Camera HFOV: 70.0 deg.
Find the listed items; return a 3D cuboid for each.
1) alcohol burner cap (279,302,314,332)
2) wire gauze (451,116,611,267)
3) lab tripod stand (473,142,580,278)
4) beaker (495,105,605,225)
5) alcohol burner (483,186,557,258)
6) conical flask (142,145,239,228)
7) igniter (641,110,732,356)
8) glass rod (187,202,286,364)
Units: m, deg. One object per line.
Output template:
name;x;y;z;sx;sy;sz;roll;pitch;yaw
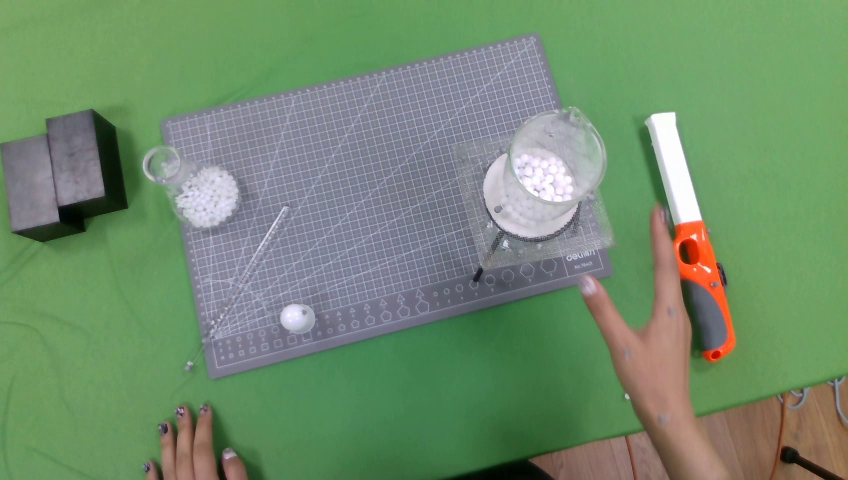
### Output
alcohol burner cap;-0.136;0.079;0.635;0.034;0.048;0.033;0;80;-1
wire gauze;0.097;-0.044;0.547;0.125;0.011;0.121;-11;83;-4
lab tripod stand;0.096;-0.029;0.611;0.148;0.132;0.148;0;81;-1
beaker;0.099;-0.057;0.501;0.074;0.100;0.084;21;81;3
alcohol burner;0.100;-0.022;0.620;0.078;0.119;0.077;0;80;2
conical flask;-0.242;-0.060;0.618;0.075;0.122;0.075;0;79;0
igniter;0.289;-0.012;0.667;0.057;0.025;0.275;-8;80;-13
glass rod;-0.202;0.044;0.657;0.008;0.008;0.199;28;81;5
